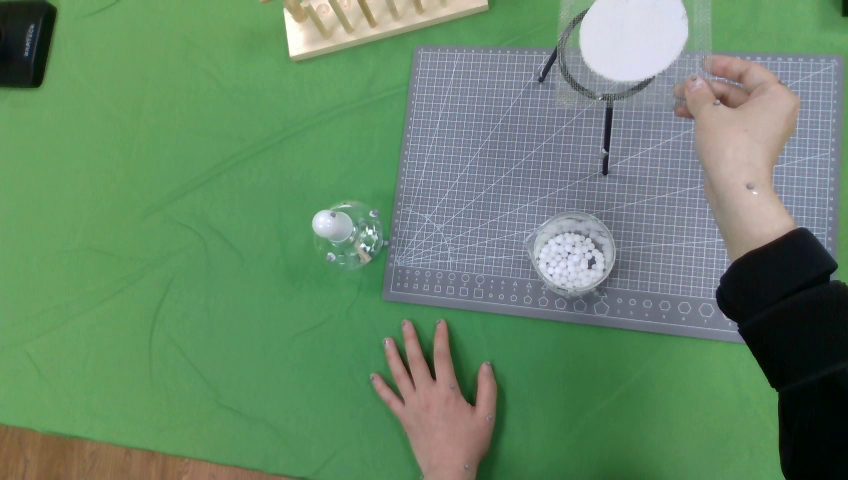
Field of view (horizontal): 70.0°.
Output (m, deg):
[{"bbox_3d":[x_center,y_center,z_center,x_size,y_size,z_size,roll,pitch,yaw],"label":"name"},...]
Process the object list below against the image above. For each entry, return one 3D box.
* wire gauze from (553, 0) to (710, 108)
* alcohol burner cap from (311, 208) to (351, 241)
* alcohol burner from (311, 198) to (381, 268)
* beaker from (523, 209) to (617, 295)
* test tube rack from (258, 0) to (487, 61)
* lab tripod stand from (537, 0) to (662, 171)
[{"bbox_3d":[0.169,-0.171,0.500,0.124,0.011,0.121,2,88,26],"label":"wire gauze"},{"bbox_3d":[-0.095,-0.017,0.603,0.034,0.048,0.034,-1,85,12],"label":"alcohol burner cap"},{"bbox_3d":[-0.087,-0.011,0.637,0.078,0.120,0.077,-2,79,11],"label":"alcohol burner"},{"bbox_3d":[0.141,0.015,0.590,0.083,0.101,0.074,12,83,15],"label":"beaker"},{"bbox_3d":[-0.058,-0.281,0.685,0.242,0.085,0.066,-12,79,10],"label":"test tube rack"},{"bbox_3d":[0.176,-0.155,0.590,0.148,0.132,0.148,-1,82,10],"label":"lab tripod stand"}]
